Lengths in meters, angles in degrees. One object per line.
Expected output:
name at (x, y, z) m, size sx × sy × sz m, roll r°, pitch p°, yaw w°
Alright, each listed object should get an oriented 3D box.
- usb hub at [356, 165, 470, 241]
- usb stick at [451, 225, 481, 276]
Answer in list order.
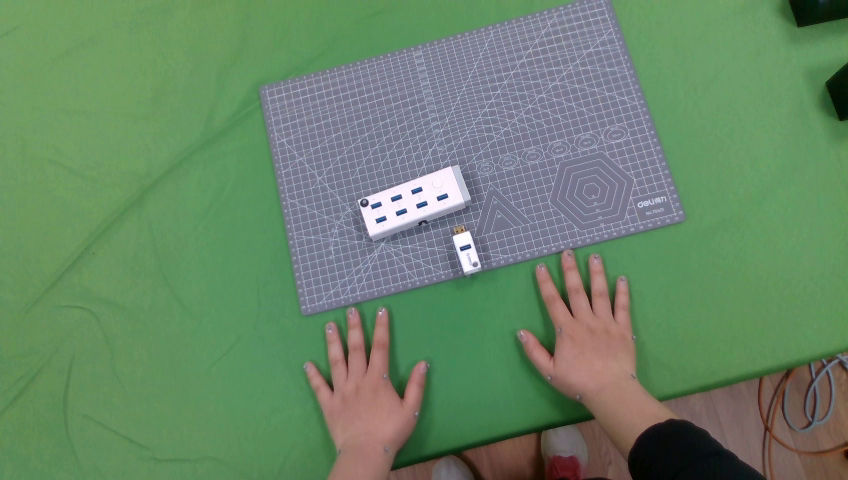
usb hub at (-0.013, -0.043, 0.703) m, size 0.125 × 0.025 × 0.049 m, roll -20°, pitch 76°, yaw 1°
usb stick at (0.046, 0.009, 0.685) m, size 0.021 × 0.027 × 0.059 m, roll -20°, pitch 73°, yaw 5°
